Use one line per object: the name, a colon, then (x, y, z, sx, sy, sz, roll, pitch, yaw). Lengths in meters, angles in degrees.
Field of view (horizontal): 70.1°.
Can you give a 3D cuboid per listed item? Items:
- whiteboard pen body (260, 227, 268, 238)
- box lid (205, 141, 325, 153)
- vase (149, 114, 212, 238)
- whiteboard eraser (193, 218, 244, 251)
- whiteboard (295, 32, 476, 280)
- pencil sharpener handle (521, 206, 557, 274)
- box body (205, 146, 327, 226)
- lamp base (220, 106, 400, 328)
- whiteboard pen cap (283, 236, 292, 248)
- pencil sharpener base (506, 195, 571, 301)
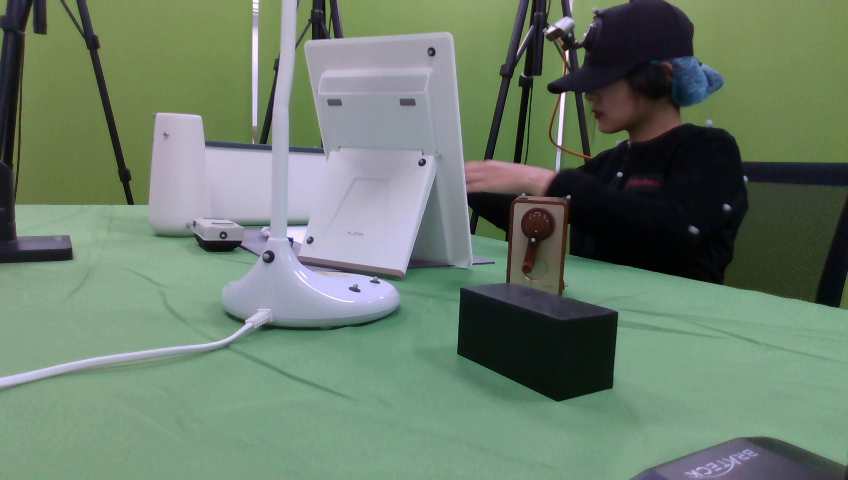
whiteboard pen body: (-0.239, -0.005, 0.964, 0.017, 0.017, 0.140, -2, 9, -28)
box lid: (-0.357, -0.196, 1.284, 0.373, 0.015, 0.262, -2, 9, -32)
vase: (-0.405, -0.106, 1.006, 0.098, 0.200, 0.098, 2, 6, 0)
whiteboard eraser: (-0.307, -0.009, 0.900, 0.056, 0.042, 0.112, -4, 10, -28)
whiteboard: (-0.076, -0.084, 0.747, 0.216, 0.305, 0.144, 7, 28, 29)
pencil sharpener handle: (0.112, 0.000, 0.611, 0.036, 0.067, 0.031, 13, 10, 11)
box body: (-0.363, -0.123, 1.293, 0.366, 0.160, 0.253, -2, 9, -32)
lamp base: (-0.102, -0.023, 0.531, 0.160, 0.180, 0.179, 4, 10, 10)
whiteboard pen cap: (-0.211, 0.003, 0.913, 0.018, 0.018, 0.033, -2, 6, -28)
pencil sharpener base: (0.126, 0.007, 0.662, 0.061, 0.107, 0.077, 4, 8, 13)
